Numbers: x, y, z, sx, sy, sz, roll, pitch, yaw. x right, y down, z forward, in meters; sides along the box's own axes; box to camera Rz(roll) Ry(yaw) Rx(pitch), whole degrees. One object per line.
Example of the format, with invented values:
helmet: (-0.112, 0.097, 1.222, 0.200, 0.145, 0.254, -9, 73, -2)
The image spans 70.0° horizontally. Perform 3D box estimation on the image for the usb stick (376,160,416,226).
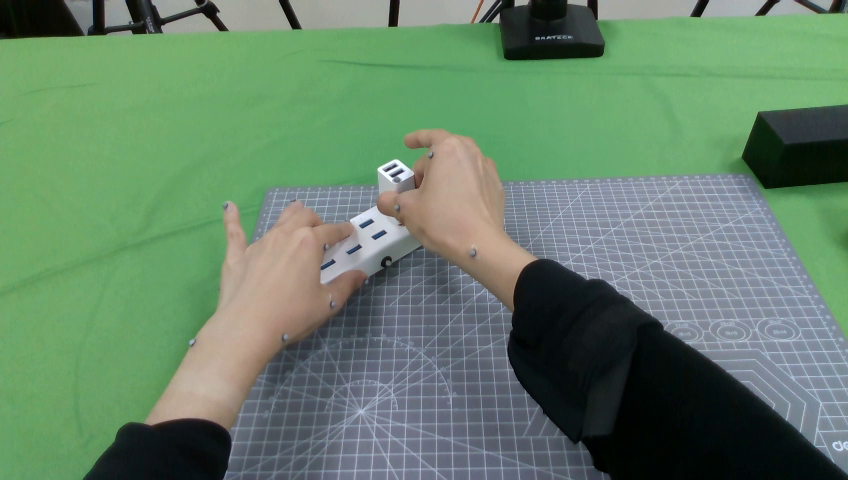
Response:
usb stick: (-0.022, -0.033, 0.488, 0.021, 0.060, 0.027, -33, 51, -25)

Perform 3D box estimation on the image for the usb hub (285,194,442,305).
usb hub: (-0.047, 0.003, 0.499, 0.125, 0.025, 0.049, -30, 49, -25)
